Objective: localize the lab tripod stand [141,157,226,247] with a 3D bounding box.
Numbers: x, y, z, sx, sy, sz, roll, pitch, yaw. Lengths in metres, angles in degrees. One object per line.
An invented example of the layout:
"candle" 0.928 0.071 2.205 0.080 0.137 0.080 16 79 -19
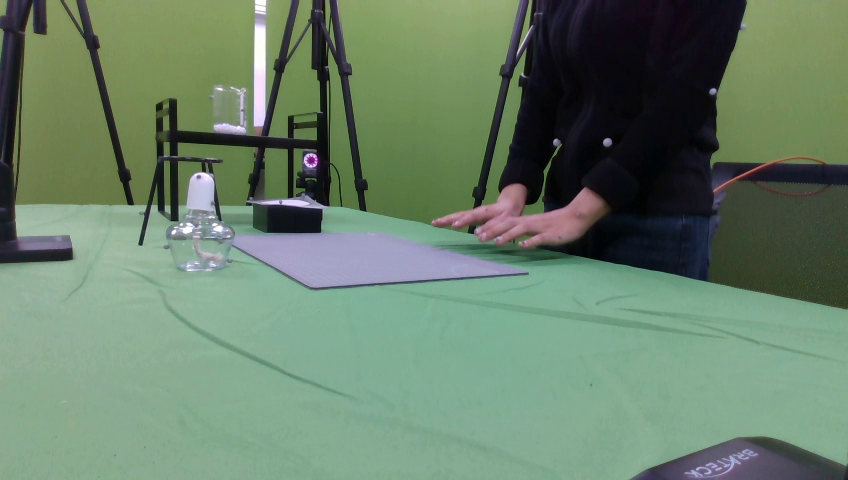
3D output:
"lab tripod stand" -0.353 -0.060 0.920 0.148 0.131 0.148 1 6 0

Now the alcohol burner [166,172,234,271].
"alcohol burner" -0.271 -0.023 0.735 0.078 0.119 0.078 2 5 0

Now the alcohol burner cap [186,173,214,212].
"alcohol burner cap" -0.268 -0.057 0.731 0.034 0.048 0.034 6 2 0

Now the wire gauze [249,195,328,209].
"wire gauze" -0.260 -0.071 1.139 0.126 0.011 0.121 -3 12 -28

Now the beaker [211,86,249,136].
"beaker" -0.413 -0.274 1.297 0.074 0.100 0.083 -5 11 -44
